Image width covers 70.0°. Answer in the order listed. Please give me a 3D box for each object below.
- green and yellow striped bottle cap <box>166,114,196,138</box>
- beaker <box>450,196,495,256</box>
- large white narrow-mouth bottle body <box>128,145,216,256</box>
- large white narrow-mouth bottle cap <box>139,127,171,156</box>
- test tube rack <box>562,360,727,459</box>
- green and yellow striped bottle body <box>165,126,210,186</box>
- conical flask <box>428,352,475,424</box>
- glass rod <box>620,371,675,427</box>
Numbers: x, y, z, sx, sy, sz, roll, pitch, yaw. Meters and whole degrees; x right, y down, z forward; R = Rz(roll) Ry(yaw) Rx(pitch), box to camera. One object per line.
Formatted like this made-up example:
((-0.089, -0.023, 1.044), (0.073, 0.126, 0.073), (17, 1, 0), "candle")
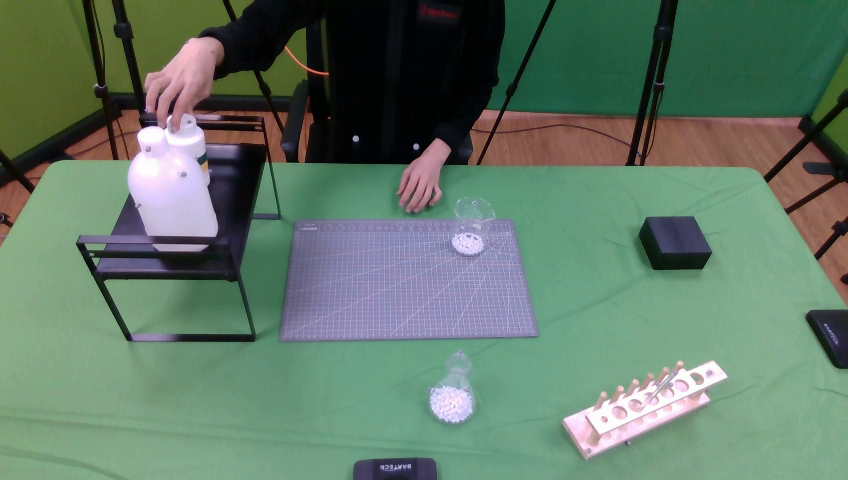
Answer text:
((-0.381, -0.179, 0.948), (0.045, 0.020, 0.045), (8, 39, -6), "green and yellow striped bottle cap")
((0.092, -0.024, 1.170), (0.084, 0.101, 0.073), (15, 48, 10), "beaker")
((-0.366, -0.073, 0.872), (0.102, 0.195, 0.101), (3, 47, -3), "large white narrow-mouth bottle body")
((-0.358, -0.132, 0.807), (0.038, 0.024, 0.037), (3, 47, -3), "large white narrow-mouth bottle cap")
((0.341, 0.247, 0.940), (0.243, 0.085, 0.066), (-16, 49, -18), "test tube rack")
((-0.387, -0.142, 0.984), (0.063, 0.120, 0.063), (6, 42, -5), "green and yellow striped bottle body")
((0.046, 0.220, 0.920), (0.075, 0.122, 0.075), (2, 46, -2), "conical flask")
((0.316, 0.230, 0.863), (0.008, 0.200, 0.008), (3, 54, -3), "glass rod")
